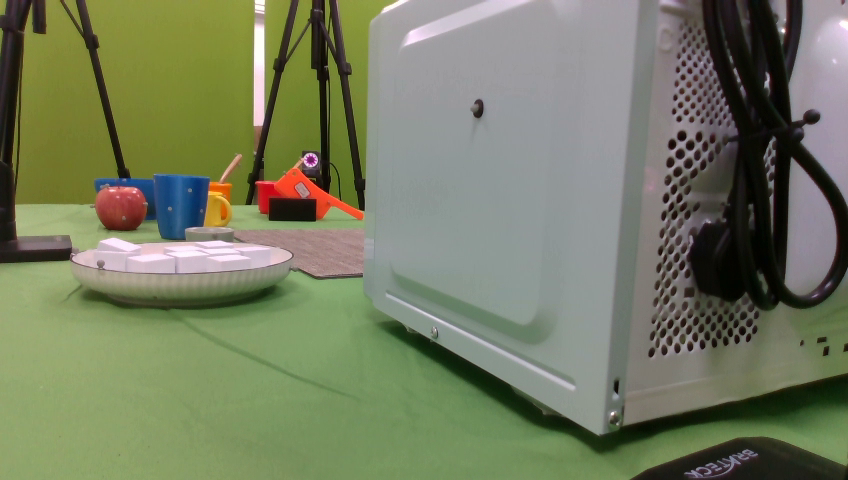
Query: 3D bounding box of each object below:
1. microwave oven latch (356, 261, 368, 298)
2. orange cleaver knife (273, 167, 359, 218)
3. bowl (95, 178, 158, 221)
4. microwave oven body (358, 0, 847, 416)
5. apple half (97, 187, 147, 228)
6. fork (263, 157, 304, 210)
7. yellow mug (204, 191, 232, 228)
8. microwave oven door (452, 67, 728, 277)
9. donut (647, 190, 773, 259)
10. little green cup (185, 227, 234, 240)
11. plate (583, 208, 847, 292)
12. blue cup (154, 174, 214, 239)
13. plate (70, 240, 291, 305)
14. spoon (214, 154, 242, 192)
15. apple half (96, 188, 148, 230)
[{"bbox_3d":[-0.020,0.033,0.529,0.079,0.029,0.030,0,7,-25],"label":"microwave oven latch"},{"bbox_3d":[-0.238,-0.090,1.381,0.212,0.077,0.012,31,0,-19],"label":"orange cleaver knife"},{"bbox_3d":[-0.576,-0.081,1.217,0.151,0.077,0.151,3,8,0],"label":"bowl"},{"bbox_3d":[0.210,-0.047,0.475,0.444,0.260,0.324,-1,7,-28],"label":"microwave oven body"},{"bbox_3d":[-0.534,-0.059,1.071,0.082,0.081,0.032,-1,11,-25],"label":"apple half"},{"bbox_3d":[-0.345,-0.143,1.506,0.028,0.019,0.207,-4,46,29],"label":"fork"},{"bbox_3d":[-0.415,-0.057,1.131,0.130,0.064,0.100,6,7,16],"label":"yellow mug"},{"bbox_3d":[0.197,-0.094,0.800,0.354,0.243,0.039,7,10,36],"label":"microwave oven door"},{"bbox_3d":[0.244,-0.015,0.521,0.099,0.048,0.099,-7,20,3],"label":"donut"},{"bbox_3d":[-0.285,0.005,0.805,0.061,0.038,0.061,2,8,0],"label":"little green cup"},{"bbox_3d":[0.240,0.006,0.511,0.209,0.038,0.209,2,12,0],"label":"plate"},{"bbox_3d":[-0.391,-0.053,0.978,0.093,0.100,0.092,3,6,0],"label":"blue cup"},{"bbox_3d":[-0.242,0.031,0.618,0.208,0.039,0.207,2,8,0],"label":"plate"},{"bbox_3d":[-0.439,-0.124,1.318,0.041,0.193,0.022,6,-36,16],"label":"spoon"},{"bbox_3d":[-0.517,-0.052,1.036,0.081,0.074,0.053,2,10,-26],"label":"apple half"}]
